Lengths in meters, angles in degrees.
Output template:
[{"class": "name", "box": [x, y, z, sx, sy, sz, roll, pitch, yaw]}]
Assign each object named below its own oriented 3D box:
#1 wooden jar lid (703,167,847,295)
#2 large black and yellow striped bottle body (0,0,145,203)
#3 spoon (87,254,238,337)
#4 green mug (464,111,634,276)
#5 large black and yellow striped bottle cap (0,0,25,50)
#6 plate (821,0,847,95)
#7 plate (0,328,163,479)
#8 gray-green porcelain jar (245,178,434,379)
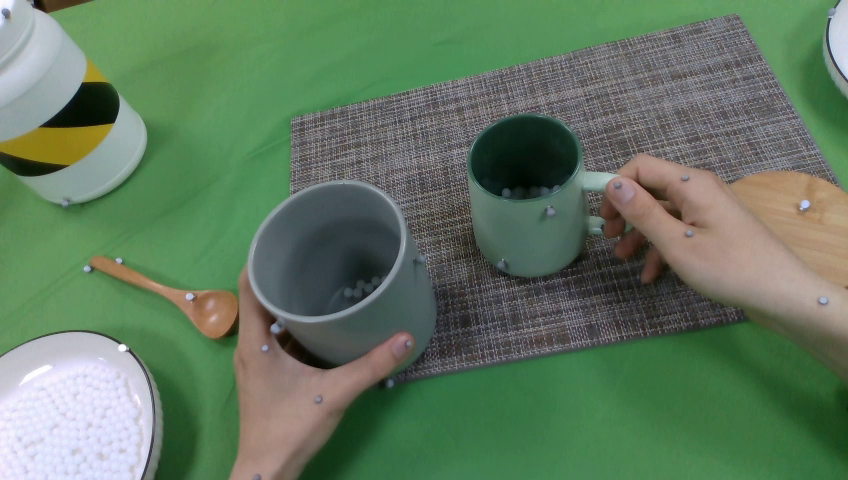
[{"class": "wooden jar lid", "box": [0.264, -0.006, 0.447, 0.108, 0.021, 0.107, -7, 59, 11]}, {"class": "large black and yellow striped bottle body", "box": [-0.377, -0.136, 0.579, 0.130, 0.186, 0.129, -6, 59, 10]}, {"class": "spoon", "box": [-0.237, 0.040, 0.539, 0.192, 0.022, 0.041, 18, 82, 22]}, {"class": "green mug", "box": [0.092, -0.030, 0.452, 0.125, 0.106, 0.092, 8, 61, 17]}, {"class": "large black and yellow striped bottle cap", "box": [-0.394, -0.176, 0.508, 0.115, 0.019, 0.114, -6, 57, 10]}, {"class": "plate", "box": [0.435, -0.153, 0.489, 0.207, 0.039, 0.205, -6, 59, 10]}, {"class": "plate", "box": [-0.294, 0.170, 0.466, 0.209, 0.038, 0.207, -6, 58, 10]}, {"class": "gray-green porcelain jar", "box": [-0.051, 0.035, 0.432, 0.106, 0.128, 0.105, -6, 58, 9]}]
